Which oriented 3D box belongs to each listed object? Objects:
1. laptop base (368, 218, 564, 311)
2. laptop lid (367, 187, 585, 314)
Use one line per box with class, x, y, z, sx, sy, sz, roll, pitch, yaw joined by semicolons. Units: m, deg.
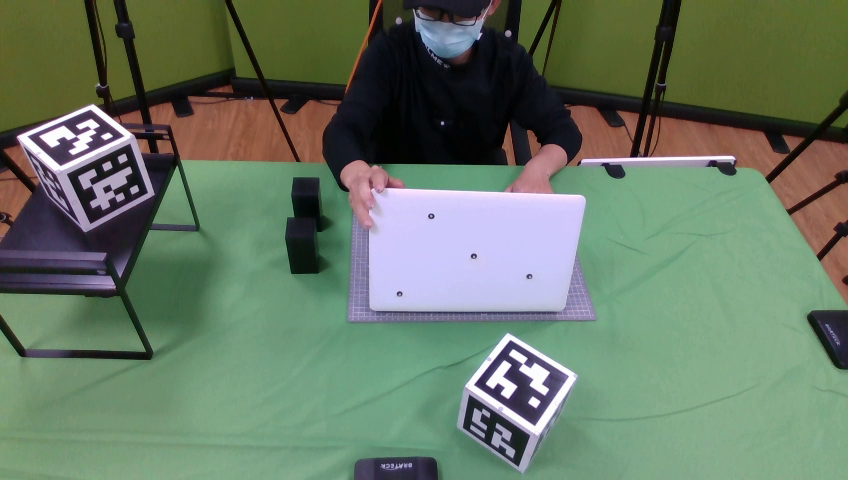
laptop base;0.074;0.044;1.160;0.354;0.023;0.234;0;43;-3
laptop lid;0.082;0.023;1.016;0.357;0.242;0.013;2;27;-3
